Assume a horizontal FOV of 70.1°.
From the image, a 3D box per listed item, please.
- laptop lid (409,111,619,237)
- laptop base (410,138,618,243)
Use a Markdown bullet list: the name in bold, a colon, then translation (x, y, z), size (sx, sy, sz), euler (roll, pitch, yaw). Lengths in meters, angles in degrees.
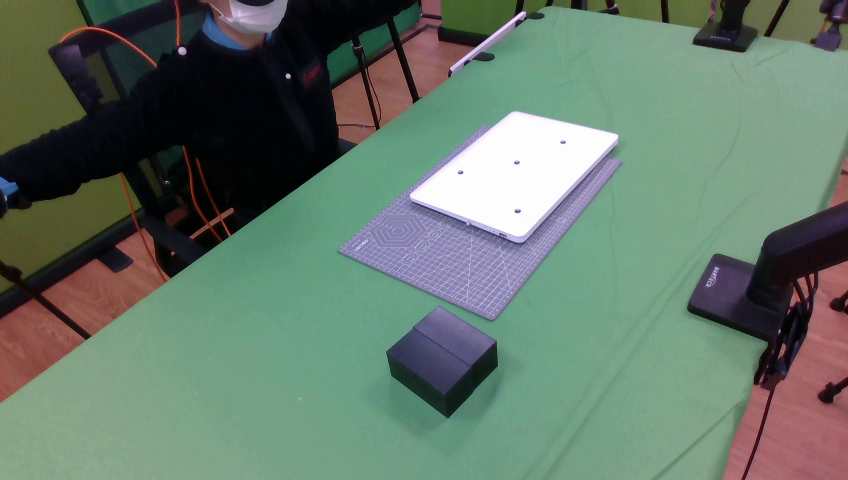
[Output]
- **laptop lid**: translation (0.168, -0.136, 1.089), size (0.239, 0.013, 0.358), euler (23, 48, 34)
- **laptop base**: translation (0.170, -0.126, 1.096), size (0.233, 0.023, 0.355), euler (21, 47, 33)
